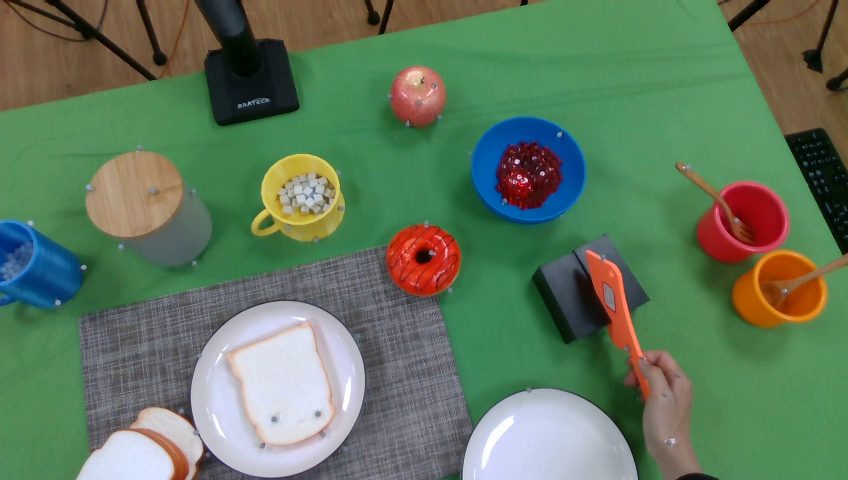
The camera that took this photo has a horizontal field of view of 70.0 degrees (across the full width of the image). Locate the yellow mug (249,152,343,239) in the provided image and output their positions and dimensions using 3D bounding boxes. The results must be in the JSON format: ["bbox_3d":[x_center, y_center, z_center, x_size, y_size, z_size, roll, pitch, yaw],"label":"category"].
[{"bbox_3d":[-0.173,-0.049,0.798,0.131,0.064,0.099,-37,76,-12],"label":"yellow mug"}]

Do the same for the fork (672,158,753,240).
[{"bbox_3d":[0.372,-0.050,0.773,0.209,0.018,0.028,32,66,-36],"label":"fork"}]

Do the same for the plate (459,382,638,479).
[{"bbox_3d":[0.143,0.275,0.713,0.209,0.038,0.207,0,71,-1],"label":"plate"}]

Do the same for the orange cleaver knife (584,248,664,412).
[{"bbox_3d":[0.240,0.108,0.734,0.012,0.077,0.212,-24,100,-12],"label":"orange cleaver knife"}]

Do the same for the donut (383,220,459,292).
[{"bbox_3d":[-0.004,0.021,0.787,0.099,0.048,0.098,1,72,-2],"label":"donut"}]

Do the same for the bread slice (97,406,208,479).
[{"bbox_3d":[-0.310,0.263,0.701,0.104,0.019,0.131,24,73,6],"label":"bread slice"}]

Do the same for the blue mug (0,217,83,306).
[{"bbox_3d":[-0.498,0.039,0.736,0.116,0.106,0.082,-39,76,-13],"label":"blue mug"}]

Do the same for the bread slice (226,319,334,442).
[{"bbox_3d":[-0.166,0.174,0.735,0.107,0.018,0.133,-24,73,-9],"label":"bread slice"}]

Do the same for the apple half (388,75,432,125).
[{"bbox_3d":[-0.027,-0.185,0.843,0.081,0.082,0.033,40,70,12],"label":"apple half"}]

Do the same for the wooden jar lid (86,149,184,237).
[{"bbox_3d":[-0.329,-0.052,0.696,0.108,0.021,0.107,0,70,-1],"label":"wooden jar lid"}]

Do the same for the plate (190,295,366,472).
[{"bbox_3d":[-0.173,0.171,0.735,0.208,0.039,0.206,1,72,-1],"label":"plate"}]

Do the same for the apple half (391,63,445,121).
[{"bbox_3d":[-0.002,-0.212,0.855,0.080,0.075,0.053,40,69,15],"label":"apple half"}]

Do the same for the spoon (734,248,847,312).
[{"bbox_3d":[0.480,0.037,0.746,0.022,0.194,0.041,1,61,-50],"label":"spoon"}]

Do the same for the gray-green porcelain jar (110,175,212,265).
[{"bbox_3d":[-0.330,-0.031,0.755,0.106,0.127,0.105,1,71,-1],"label":"gray-green porcelain jar"}]

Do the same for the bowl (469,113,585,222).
[{"bbox_3d":[0.132,-0.085,0.813,0.151,0.077,0.150,1,72,-1],"label":"bowl"}]
